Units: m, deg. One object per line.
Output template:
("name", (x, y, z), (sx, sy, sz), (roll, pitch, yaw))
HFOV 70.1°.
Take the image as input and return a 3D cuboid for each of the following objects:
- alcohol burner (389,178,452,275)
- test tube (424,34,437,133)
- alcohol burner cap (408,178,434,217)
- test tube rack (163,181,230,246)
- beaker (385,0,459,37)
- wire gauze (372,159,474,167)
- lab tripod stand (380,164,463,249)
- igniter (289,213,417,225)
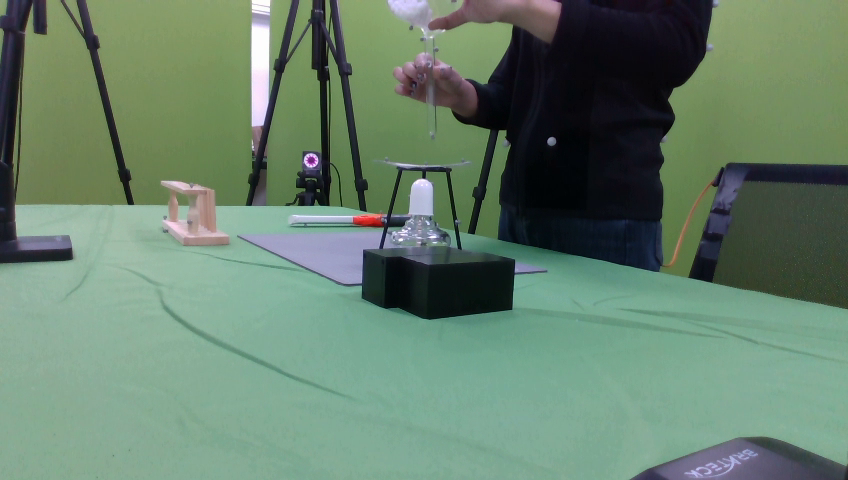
("alcohol burner", (-0.004, -0.017, 0.749), (0.078, 0.119, 0.078), (1, 9, 0))
("test tube", (0.010, -0.239, 0.932), (0.017, 0.150, 0.017), (-2, 25, 1))
("alcohol burner cap", (-0.003, -0.053, 0.746), (0.034, 0.048, 0.034), (3, 3, 0))
("test tube rack", (-0.387, -0.050, 1.015), (0.067, 0.085, 0.241), (-2, 9, -30))
("beaker", (-0.005, -0.336, 0.851), (0.074, 0.084, 0.100), (21, 16, 22))
("wire gauze", (-0.004, -0.122, 0.958), (0.122, 0.011, 0.124), (-4, 9, -33))
("lab tripod stand", (-0.003, -0.055, 0.967), (0.148, 0.131, 0.148), (2, 9, 0))
("igniter", (-0.144, -0.044, 1.275), (0.278, 0.025, 0.057), (-1, -2, -28))
